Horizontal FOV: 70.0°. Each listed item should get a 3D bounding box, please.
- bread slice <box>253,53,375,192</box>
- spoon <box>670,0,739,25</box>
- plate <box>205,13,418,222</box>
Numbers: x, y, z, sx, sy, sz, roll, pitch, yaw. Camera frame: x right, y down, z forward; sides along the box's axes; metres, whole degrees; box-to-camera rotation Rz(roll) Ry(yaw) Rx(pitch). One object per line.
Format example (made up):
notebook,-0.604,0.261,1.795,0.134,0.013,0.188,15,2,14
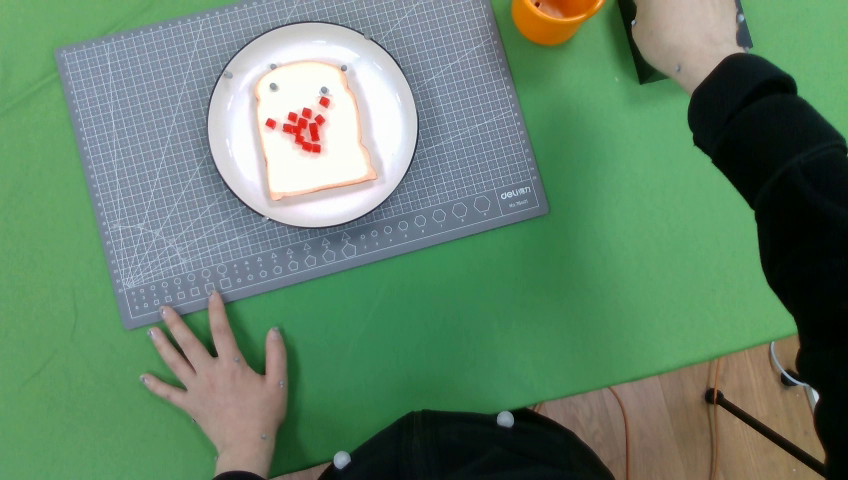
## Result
bread slice,-0.118,-0.120,0.611,0.107,0.018,0.134,-15,87,-5
spoon,0.185,-0.229,0.530,0.192,0.022,0.042,42,110,31
plate,-0.110,-0.121,0.611,0.209,0.038,0.208,0,87,-3
